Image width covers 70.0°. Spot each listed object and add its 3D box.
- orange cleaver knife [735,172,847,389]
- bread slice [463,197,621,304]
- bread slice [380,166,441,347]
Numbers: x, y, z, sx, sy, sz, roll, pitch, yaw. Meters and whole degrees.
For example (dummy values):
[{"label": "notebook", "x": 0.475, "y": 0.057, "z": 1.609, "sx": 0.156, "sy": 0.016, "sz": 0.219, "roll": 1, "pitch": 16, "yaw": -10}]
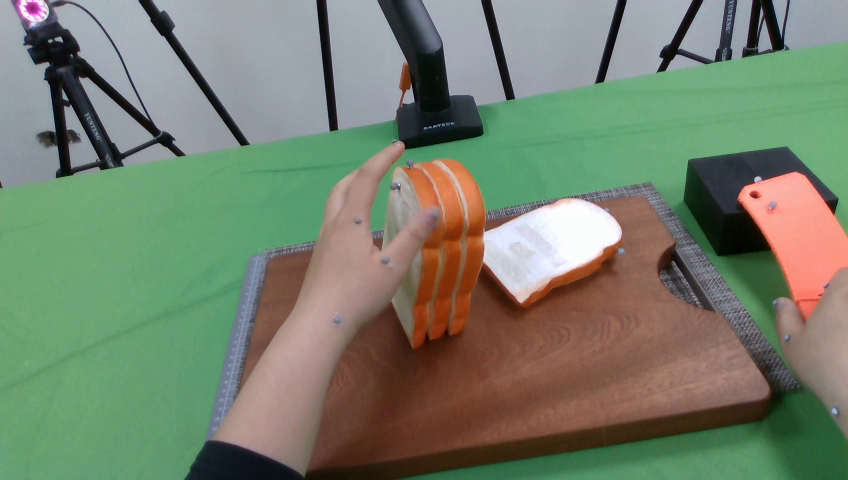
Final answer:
[{"label": "orange cleaver knife", "x": 0.325, "y": 0.023, "z": 0.507, "sx": 0.077, "sy": 0.012, "sz": 0.209, "roll": -3, "pitch": 54, "yaw": 5}, {"label": "bread slice", "x": 0.117, "y": 0.004, "z": 0.569, "sx": 0.131, "sy": 0.019, "sz": 0.103, "roll": -24, "pitch": 37, "yaw": -11}, {"label": "bread slice", "x": -0.013, "y": 0.005, "z": 0.517, "sx": 0.018, "sy": 0.135, "sz": 0.106, "roll": -6, "pitch": 33, "yaw": -20}]
